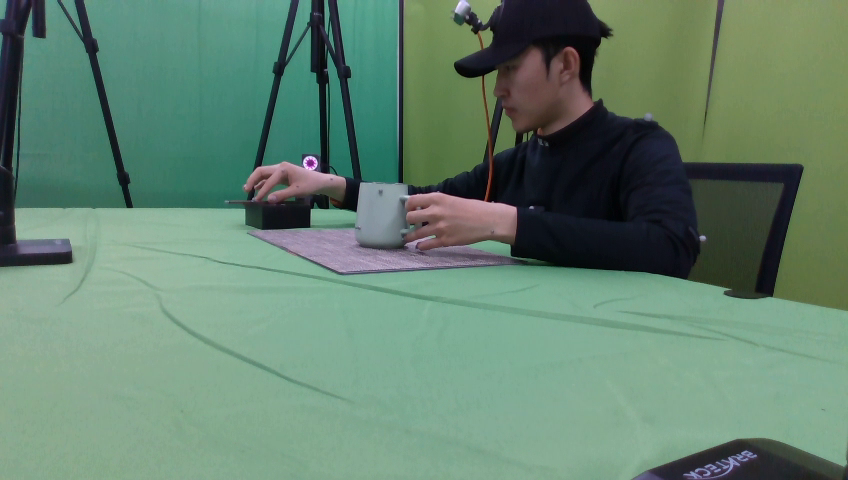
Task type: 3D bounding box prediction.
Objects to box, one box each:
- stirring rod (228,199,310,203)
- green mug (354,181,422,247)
[{"bbox_3d":[-0.315,-0.080,1.239,0.177,0.006,0.014,-4,10,-40],"label":"stirring rod"},{"bbox_3d":[-0.055,-0.042,0.988,0.125,0.105,0.093,7,8,35],"label":"green mug"}]
